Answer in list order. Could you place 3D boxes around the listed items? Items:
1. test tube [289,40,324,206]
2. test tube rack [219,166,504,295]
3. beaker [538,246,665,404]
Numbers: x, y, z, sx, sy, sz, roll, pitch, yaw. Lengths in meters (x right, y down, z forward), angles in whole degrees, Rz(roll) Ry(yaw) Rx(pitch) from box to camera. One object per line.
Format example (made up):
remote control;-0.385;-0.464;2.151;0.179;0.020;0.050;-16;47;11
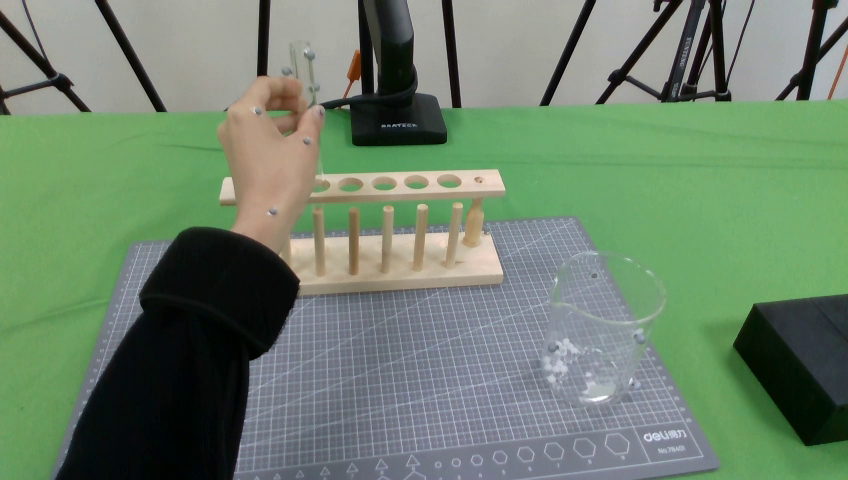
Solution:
test tube;-0.094;-0.088;0.493;0.017;0.151;0.017;2;40;-1
test tube rack;-0.051;-0.010;0.541;0.243;0.086;0.066;-3;40;-7
beaker;0.124;0.067;0.449;0.084;0.101;0.073;-9;40;-13
